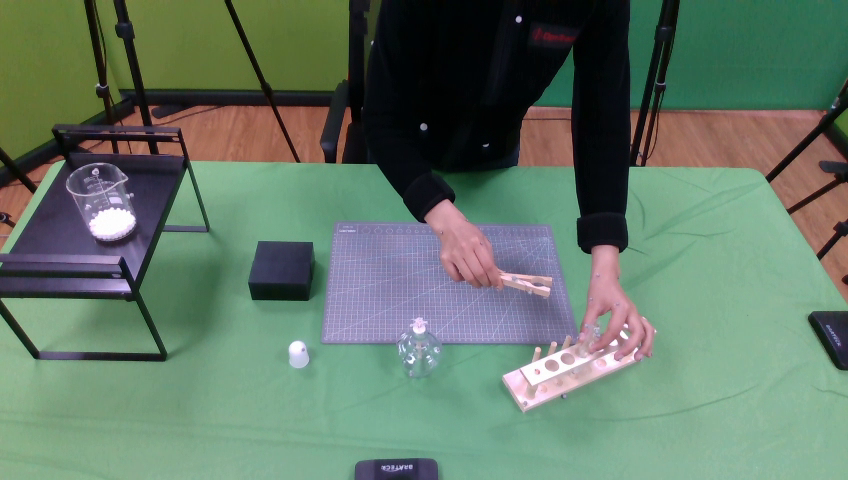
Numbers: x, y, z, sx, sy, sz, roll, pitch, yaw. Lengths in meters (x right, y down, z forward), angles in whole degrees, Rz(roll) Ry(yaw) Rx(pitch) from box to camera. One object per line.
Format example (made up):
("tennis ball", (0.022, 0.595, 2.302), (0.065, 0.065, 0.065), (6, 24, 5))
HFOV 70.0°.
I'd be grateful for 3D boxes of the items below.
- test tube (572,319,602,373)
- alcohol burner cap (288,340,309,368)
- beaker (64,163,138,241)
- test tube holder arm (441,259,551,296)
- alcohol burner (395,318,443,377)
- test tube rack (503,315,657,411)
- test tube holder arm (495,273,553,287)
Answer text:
("test tube", (0.248, 0.165, 0.930), (0.017, 0.151, 0.017), (0, 51, 0))
("alcohol burner cap", (-0.207, 0.183, 0.991), (0.034, 0.048, 0.033), (3, 47, -3))
("beaker", (-0.477, -0.055, 0.910), (0.084, 0.101, 0.073), (-9, 48, -13))
("test tube holder arm", (0.109, 0.057, 0.938), (0.178, 0.015, 0.013), (13, 42, 19))
("alcohol burner", (-0.008, 0.167, 0.971), (0.078, 0.120, 0.077), (1, 46, 0))
("test tube rack", (0.253, 0.187, 0.988), (0.242, 0.085, 0.066), (-18, 50, -20))
("test tube holder arm", (0.153, 0.061, 0.930), (0.088, 0.015, 0.010), (4, 41, 10))
